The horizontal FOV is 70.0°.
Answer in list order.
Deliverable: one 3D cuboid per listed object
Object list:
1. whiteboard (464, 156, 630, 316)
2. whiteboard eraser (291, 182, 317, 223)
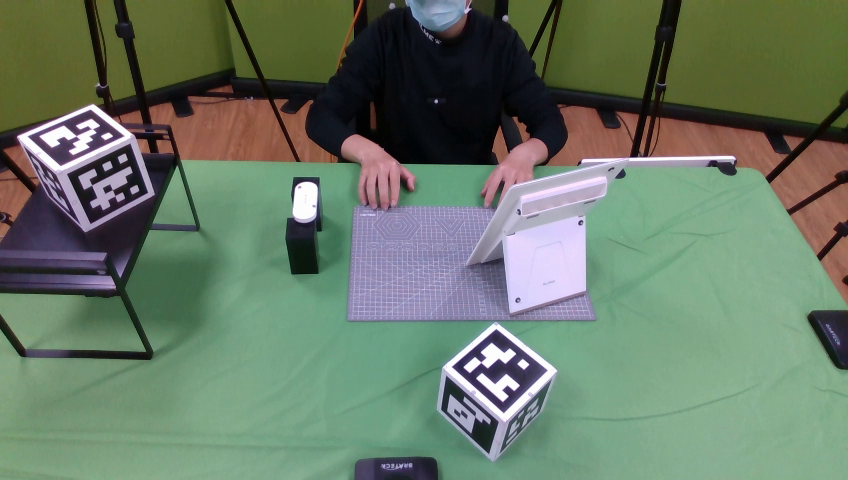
[{"bbox_3d":[0.224,0.014,1.041,0.217,0.306,0.143,-14,68,-17],"label":"whiteboard"},{"bbox_3d":[-0.219,-0.070,1.111,0.041,0.019,0.100,-2,45,-3],"label":"whiteboard eraser"}]
